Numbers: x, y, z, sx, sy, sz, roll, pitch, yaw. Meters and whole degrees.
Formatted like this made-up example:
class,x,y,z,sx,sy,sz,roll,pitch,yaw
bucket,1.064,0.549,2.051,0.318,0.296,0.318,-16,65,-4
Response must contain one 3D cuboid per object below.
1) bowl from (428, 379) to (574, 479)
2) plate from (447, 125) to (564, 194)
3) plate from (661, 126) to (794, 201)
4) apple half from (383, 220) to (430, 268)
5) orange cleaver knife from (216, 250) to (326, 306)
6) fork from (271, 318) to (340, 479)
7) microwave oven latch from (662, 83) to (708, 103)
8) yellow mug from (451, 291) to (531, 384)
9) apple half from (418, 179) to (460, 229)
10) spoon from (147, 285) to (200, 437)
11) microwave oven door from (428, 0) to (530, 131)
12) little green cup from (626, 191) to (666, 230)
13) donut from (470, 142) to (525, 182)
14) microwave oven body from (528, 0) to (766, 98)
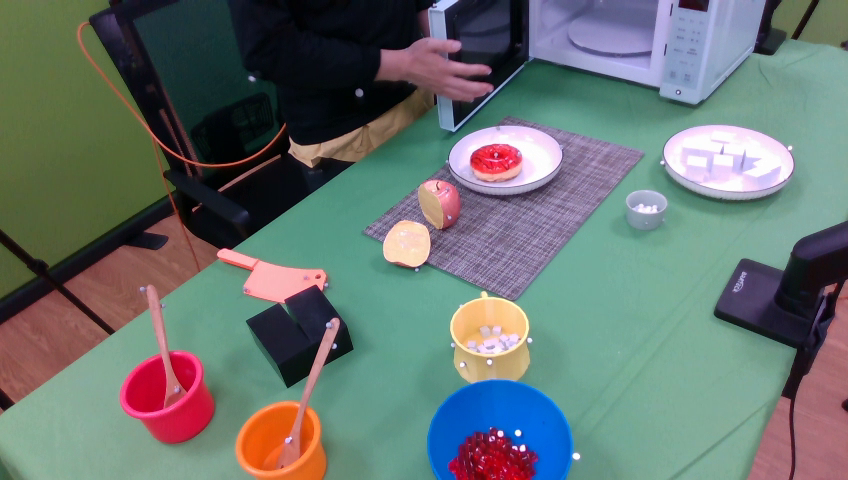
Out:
class,x,y,z,sx,sy,sz,roll,pitch,yaw
bowl,0.082,0.233,0.644,0.151,0.077,0.150,-4,39,4
plate,0.148,-0.142,1.101,0.209,0.038,0.208,-4,40,4
plate,0.513,-0.128,1.035,0.207,0.039,0.206,-4,40,4
apple half,-0.022,0.009,0.948,0.081,0.033,0.081,-4,73,13
orange cleaver knife,-0.248,0.058,0.945,0.210,0.012,0.077,12,49,20
fork,-0.132,0.186,0.676,0.028,0.019,0.207,17,90,27
microwave oven latch,0.517,-0.296,1.204,0.078,0.029,0.030,27,52,35
yellow mug,0.085,0.120,0.786,0.100,0.064,0.130,-7,39,1
apple half,0.031,-0.062,0.998,0.053,0.075,0.080,-24,39,-24
spoon,-0.318,0.148,0.754,0.042,0.021,0.193,-15,85,-11
microwave oven door,0.126,-0.417,1.249,0.039,0.245,0.356,19,47,28
little green cup,0.352,-0.046,0.963,0.061,0.039,0.061,-4,40,4
donut,0.132,-0.142,1.087,0.099,0.048,0.098,-5,39,5
microwave oven body,0.472,-0.513,1.317,0.438,0.261,0.327,25,51,34
